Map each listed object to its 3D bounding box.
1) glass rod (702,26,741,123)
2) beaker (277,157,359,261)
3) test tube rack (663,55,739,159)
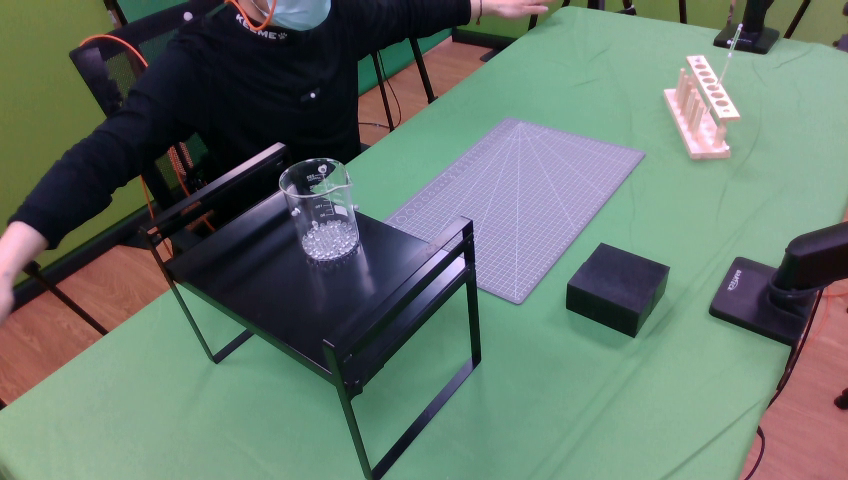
[{"bbox_3d":[0.527,-0.288,1.078,0.008,0.200,0.008,-1,50,2],"label":"glass rod"},{"bbox_3d":[-0.114,-0.033,0.688,0.084,0.101,0.074,5,43,13],"label":"beaker"},{"bbox_3d":[0.518,-0.256,1.144,0.066,0.085,0.241,-1,41,8],"label":"test tube rack"}]
